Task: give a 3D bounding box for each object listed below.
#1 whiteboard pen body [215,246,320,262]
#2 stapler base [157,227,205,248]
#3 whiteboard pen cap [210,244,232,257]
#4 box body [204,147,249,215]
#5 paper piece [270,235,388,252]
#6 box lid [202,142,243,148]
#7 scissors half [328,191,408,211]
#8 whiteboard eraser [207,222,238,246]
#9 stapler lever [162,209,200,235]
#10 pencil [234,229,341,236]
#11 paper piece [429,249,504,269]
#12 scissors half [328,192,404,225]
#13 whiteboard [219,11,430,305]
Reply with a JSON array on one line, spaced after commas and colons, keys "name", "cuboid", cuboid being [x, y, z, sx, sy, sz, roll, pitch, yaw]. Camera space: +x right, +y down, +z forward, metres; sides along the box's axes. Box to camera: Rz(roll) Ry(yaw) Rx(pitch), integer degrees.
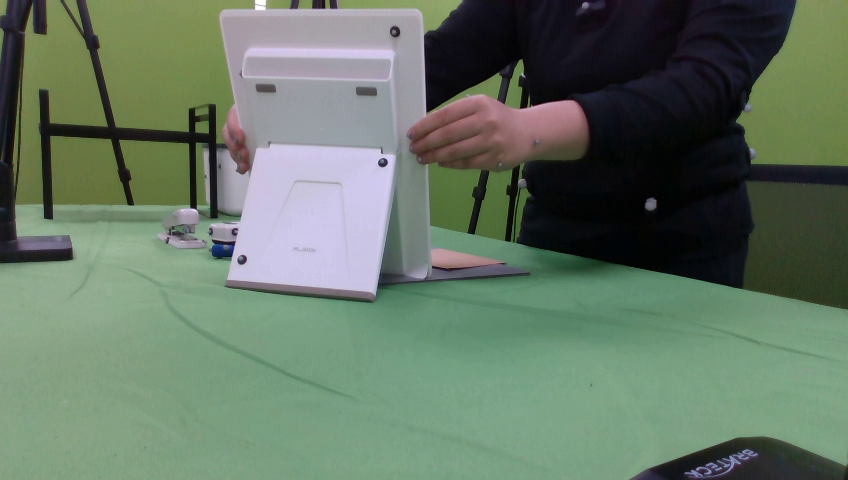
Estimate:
[{"name": "whiteboard pen body", "cuboid": [-0.209, 0.018, 0.804, 0.141, 0.017, 0.017, 3, 7, 1]}, {"name": "stapler base", "cuboid": [-0.376, -0.007, 0.935, 0.041, 0.024, 0.130, 1, 5, -38]}, {"name": "whiteboard pen cap", "cuboid": [-0.266, 0.014, 0.806, 0.033, 0.018, 0.018, 2, 7, -1]}, {"name": "box body", "cuboid": [-0.347, -0.152, 1.519, 0.366, 0.160, 0.253, -2, 9, -31]}, {"name": "paper piece", "cuboid": [-0.151, 0.003, 0.978, 0.135, 0.008, 0.139, 13, 10, 35]}, {"name": "box lid", "cuboid": [-0.345, -0.225, 1.509, 0.373, 0.015, 0.262, -2, 8, -31]}, {"name": "scissors half", "cuboid": [-0.123, -0.091, 1.318, 0.175, 0.040, 0.013, 6, 13, -3]}, {"name": "whiteboard eraser", "cuboid": [-0.253, -0.007, 0.886, 0.055, 0.042, 0.113, 12, 12, 43]}, {"name": "stapler lever", "cuboid": [-0.376, -0.031, 0.933, 0.027, 0.040, 0.117, 1, 7, -38]}, {"name": "pencil", "cuboid": [-0.232, -0.012, 1.053, 0.195, 0.012, 0.012, 0, 8, -36]}, {"name": "paper piece", "cuboid": [0.025, 0.026, 0.865, 0.134, 0.004, 0.136, 9, 9, 43]}, {"name": "scissors half", "cuboid": [-0.127, -0.072, 1.321, 0.175, 0.040, 0.013, 22, 7, -5]}, {"name": "whiteboard", "cuboid": [-0.119, -0.064, 0.620, 0.217, 0.305, 0.144, 5, 28, 13]}]
